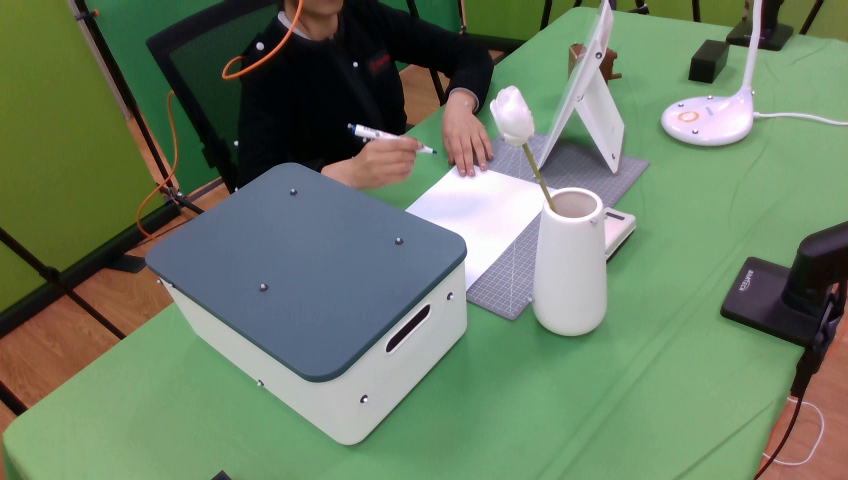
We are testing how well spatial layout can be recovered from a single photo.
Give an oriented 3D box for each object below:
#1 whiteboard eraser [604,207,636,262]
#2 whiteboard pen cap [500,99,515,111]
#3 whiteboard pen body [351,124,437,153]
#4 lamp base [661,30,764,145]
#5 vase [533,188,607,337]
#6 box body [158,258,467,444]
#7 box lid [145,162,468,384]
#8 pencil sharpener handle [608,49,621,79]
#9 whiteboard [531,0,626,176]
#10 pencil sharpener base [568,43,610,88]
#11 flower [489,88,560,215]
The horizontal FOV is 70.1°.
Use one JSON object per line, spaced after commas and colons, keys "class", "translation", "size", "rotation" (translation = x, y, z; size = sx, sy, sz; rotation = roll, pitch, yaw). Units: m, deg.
{"class": "whiteboard eraser", "translation": [0.272, -0.003, 0.919], "size": [0.055, 0.042, 0.113], "rotation": [27, 51, 32]}
{"class": "whiteboard pen cap", "translation": [0.177, -0.287, 1.290], "size": [0.033, 0.018, 0.018], "rotation": [-36, 47, -26]}
{"class": "whiteboard pen body", "translation": [-0.047, -0.159, 0.960], "size": [0.141, 0.017, 0.017], "rotation": [15, 41, -6]}
{"class": "lamp base", "translation": [0.535, -0.287, 1.096], "size": [0.179, 0.181, 0.159], "rotation": [-10, 40, -4]}
{"class": "vase", "translation": [0.187, 0.033, 0.771], "size": [0.098, 0.201, 0.097], "rotation": [-6, 41, 6]}
{"class": "box body", "translation": [-0.147, 0.072, 0.816], "size": [0.361, 0.161, 0.255], "rotation": [24, 50, 33]}
{"class": "box lid", "translation": [-0.157, 0.014, 0.769], "size": [0.368, 0.015, 0.264], "rotation": [25, 51, 33]}
{"class": "pencil sharpener handle", "translation": [0.394, -0.368, 1.253], "size": [0.030, 0.068, 0.036], "rotation": [-8, 32, 1]}
{"class": "whiteboard", "translation": [0.320, -0.259, 1.050], "size": [0.144, 0.306, 0.217], "rotation": [22, 45, 6]}
{"class": "pencil sharpener base", "translation": [0.345, -0.352, 1.263], "size": [0.077, 0.107, 0.061], "rotation": [-8, 40, 1]}
{"class": "flower", "translation": [0.158, -0.027, 0.720], "size": [0.038, 0.364, 0.044], "rotation": [-14, 44, 23]}
